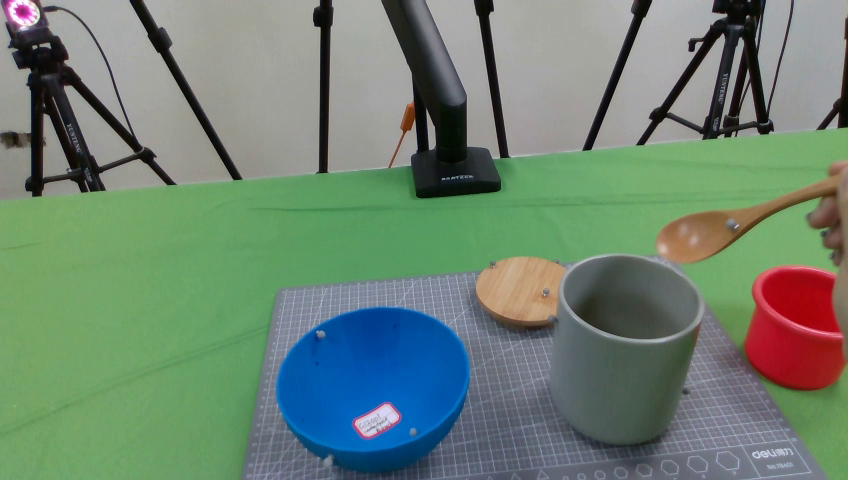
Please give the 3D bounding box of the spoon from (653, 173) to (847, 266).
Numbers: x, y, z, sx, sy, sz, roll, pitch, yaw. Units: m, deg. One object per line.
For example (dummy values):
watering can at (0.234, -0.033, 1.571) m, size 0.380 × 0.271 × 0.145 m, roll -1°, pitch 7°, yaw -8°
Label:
spoon at (0.228, -0.022, 0.374) m, size 0.022 × 0.193 × 0.041 m, roll 29°, pitch 59°, yaw -22°

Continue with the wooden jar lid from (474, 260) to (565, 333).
wooden jar lid at (0.106, 0.060, 0.638) m, size 0.108 × 0.021 × 0.107 m, roll -2°, pitch 34°, yaw 2°

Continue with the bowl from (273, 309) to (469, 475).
bowl at (-0.039, 0.134, 0.490) m, size 0.151 × 0.077 × 0.150 m, roll -2°, pitch 35°, yaw 2°

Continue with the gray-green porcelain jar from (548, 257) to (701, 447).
gray-green porcelain jar at (0.155, 0.094, 0.489) m, size 0.106 × 0.127 × 0.105 m, roll -2°, pitch 35°, yaw 2°
